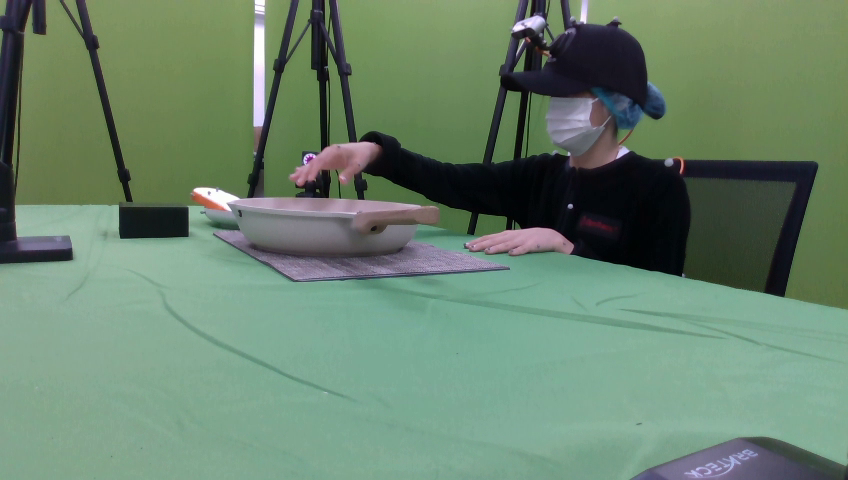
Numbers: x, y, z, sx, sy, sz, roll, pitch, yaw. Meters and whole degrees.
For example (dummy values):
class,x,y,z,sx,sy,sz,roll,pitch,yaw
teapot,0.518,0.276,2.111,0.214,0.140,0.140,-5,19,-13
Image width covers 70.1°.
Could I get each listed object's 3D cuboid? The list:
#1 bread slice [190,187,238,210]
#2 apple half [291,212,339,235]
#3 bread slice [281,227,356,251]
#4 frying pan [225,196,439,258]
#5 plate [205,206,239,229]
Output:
class,x,y,z,sx,sy,sz,roll,pitch,yaw
bread slice,-0.402,-0.074,1.218,0.131,0.019,0.105,26,12,15
apple half,-0.169,-0.027,0.937,0.081,0.033,0.081,1,10,0
bread slice,-0.170,-0.003,0.943,0.107,0.018,0.134,3,8,-16
frying pan,-0.103,-0.027,0.845,0.308,0.102,0.486,-1,0,-25
plate,-0.324,-0.046,1.199,0.208,0.039,0.207,3,7,0
